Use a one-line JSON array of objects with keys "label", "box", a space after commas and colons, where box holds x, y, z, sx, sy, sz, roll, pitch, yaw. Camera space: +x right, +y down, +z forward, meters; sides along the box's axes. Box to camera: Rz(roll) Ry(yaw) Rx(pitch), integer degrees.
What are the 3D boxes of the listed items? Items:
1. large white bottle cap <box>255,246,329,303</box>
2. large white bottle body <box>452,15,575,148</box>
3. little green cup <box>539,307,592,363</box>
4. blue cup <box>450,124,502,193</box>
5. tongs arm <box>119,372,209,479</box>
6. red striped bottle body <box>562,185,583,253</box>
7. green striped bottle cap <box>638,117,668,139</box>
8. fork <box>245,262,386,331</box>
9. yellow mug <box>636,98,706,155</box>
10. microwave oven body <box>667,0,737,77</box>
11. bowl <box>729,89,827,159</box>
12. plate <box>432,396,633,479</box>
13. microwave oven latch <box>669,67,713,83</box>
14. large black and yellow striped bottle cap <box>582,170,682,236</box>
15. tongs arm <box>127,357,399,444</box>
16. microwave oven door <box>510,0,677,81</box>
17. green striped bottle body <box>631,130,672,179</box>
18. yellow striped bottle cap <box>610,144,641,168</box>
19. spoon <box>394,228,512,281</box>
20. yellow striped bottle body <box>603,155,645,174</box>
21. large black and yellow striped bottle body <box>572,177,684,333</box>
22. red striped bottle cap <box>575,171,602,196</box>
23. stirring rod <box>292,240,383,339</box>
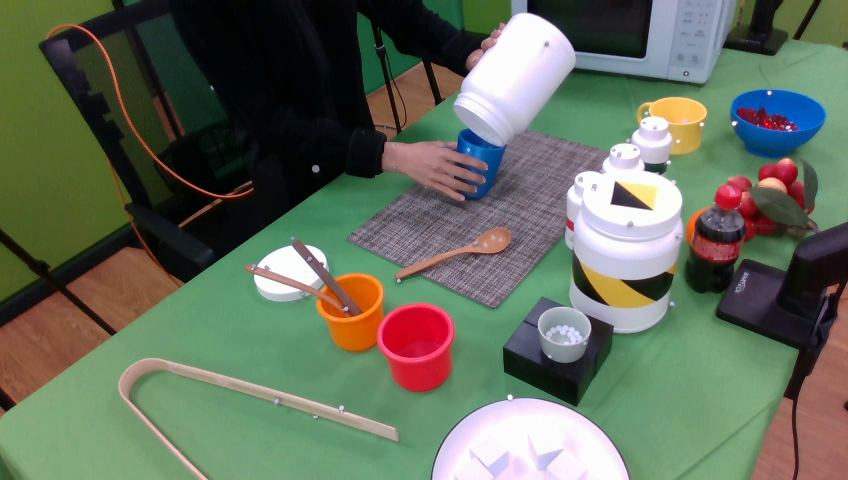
[{"label": "large white bottle cap", "box": [-0.208, 0.052, 0.952, 0.115, 0.018, 0.114, -4, 41, 4]}, {"label": "large white bottle body", "box": [0.143, -0.256, 0.992, 0.129, 0.132, 0.184, 35, 87, 39]}, {"label": "little green cup", "box": [0.168, 0.115, 0.721, 0.061, 0.039, 0.061, -4, 42, 4]}, {"label": "blue cup", "box": [0.087, -0.138, 1.043, 0.093, 0.100, 0.092, 6, 37, -4]}, {"label": "tongs arm", "box": [-0.258, 0.257, 0.700, 0.384, 0.028, 0.028, 24, 55, 34]}, {"label": "red striped bottle body", "box": [0.247, -0.041, 0.910, 0.063, 0.120, 0.062, 0, 38, 1]}, {"label": "green striped bottle cap", "box": [0.369, -0.180, 0.974, 0.044, 0.020, 0.044, -4, 41, 4]}, {"label": "fork", "box": [-0.141, 0.076, 0.807, 0.209, 0.018, 0.028, 29, 51, -24]}, {"label": "yellow mug", "box": [0.453, -0.218, 1.129, 0.100, 0.064, 0.129, -35, 46, -26]}, {"label": "microwave oven body", "box": [0.462, -0.552, 1.368, 0.439, 0.261, 0.326, 14, 45, 26]}, {"label": "bowl", "box": [0.615, -0.197, 1.069, 0.151, 0.077, 0.150, -5, 40, 5]}, {"label": "plate", "box": [0.112, 0.261, 0.634, 0.209, 0.038, 0.208, -5, 40, 4]}, {"label": "microwave oven latch", "box": [0.556, -0.349, 1.261, 0.078, 0.029, 0.030, 16, 46, 27]}, {"label": "large black and yellow striped bottle cap", "box": [0.252, -0.048, 0.735, 0.115, 0.019, 0.114, -3, 40, 3]}, {"label": "tongs arm", "box": [-0.213, 0.205, 0.755, 0.382, 0.026, 0.051, 12, 46, 23]}, {"label": "microwave oven door", "box": [0.354, -0.478, 1.290, 0.353, 0.245, 0.039, 15, 45, 25]}, {"label": "green striped bottle body", "box": [0.375, -0.140, 1.007, 0.063, 0.120, 0.063, -5, 41, 5]}, {"label": "yellow striped bottle cap", "box": [0.307, -0.128, 0.923, 0.044, 0.019, 0.044, -6, 40, 5]}, {"label": "spoon", "box": [0.045, 0.024, 0.935, 0.194, 0.022, 0.041, -18, 66, -11]}, {"label": "yellow striped bottle body", "box": [0.313, -0.089, 0.956, 0.063, 0.121, 0.062, -4, 39, 4]}, {"label": "large black and yellow striped bottle body", "box": [0.262, 0.017, 0.788, 0.131, 0.185, 0.130, -5, 40, 4]}, {"label": "red striped bottle cap", "box": [0.242, -0.081, 0.876, 0.044, 0.018, 0.044, -5, 43, 5]}, {"label": "stirring rod", "box": [-0.118, 0.068, 0.825, 0.176, 0.006, 0.014, 48, 59, -3]}]
